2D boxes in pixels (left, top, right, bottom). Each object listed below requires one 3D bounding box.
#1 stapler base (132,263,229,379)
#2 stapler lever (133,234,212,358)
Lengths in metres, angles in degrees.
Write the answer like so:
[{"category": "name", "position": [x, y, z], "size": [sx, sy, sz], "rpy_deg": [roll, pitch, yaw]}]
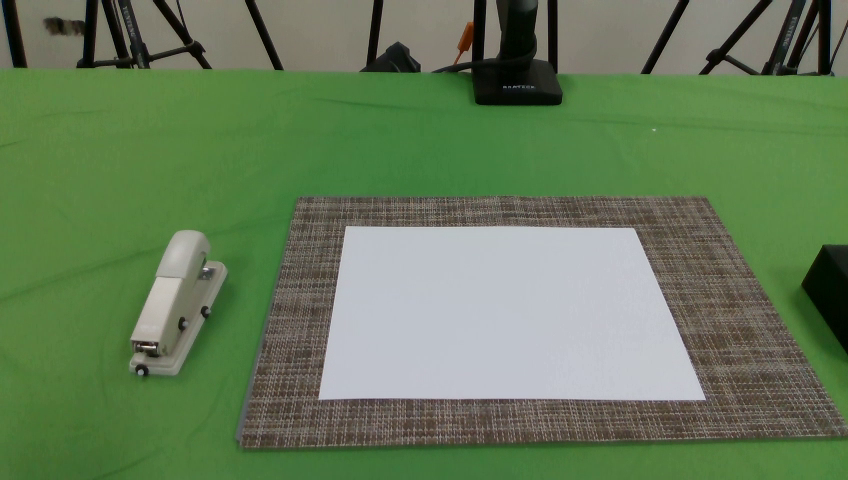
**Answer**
[{"category": "stapler base", "position": [-0.209, 0.060, 0.524], "size": [0.041, 0.024, 0.129], "rpy_deg": [2, 42, 5]}, {"category": "stapler lever", "position": [-0.208, 0.042, 0.506], "size": [0.027, 0.040, 0.117], "rpy_deg": [2, 42, 5]}]
